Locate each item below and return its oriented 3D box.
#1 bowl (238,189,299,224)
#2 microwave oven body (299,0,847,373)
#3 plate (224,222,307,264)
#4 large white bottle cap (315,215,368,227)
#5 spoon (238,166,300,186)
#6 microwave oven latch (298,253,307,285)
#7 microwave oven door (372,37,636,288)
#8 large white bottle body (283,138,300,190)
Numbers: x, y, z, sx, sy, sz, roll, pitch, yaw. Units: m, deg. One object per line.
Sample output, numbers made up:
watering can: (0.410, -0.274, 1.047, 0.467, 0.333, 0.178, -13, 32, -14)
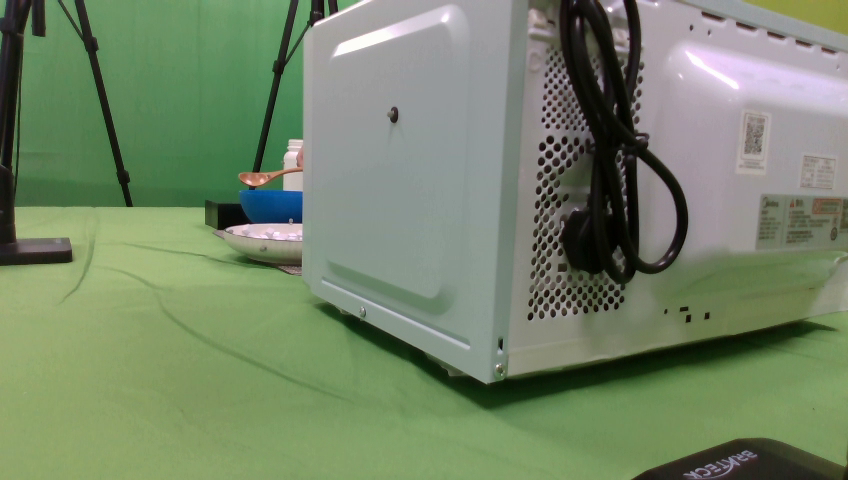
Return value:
bowl: (-0.245, -0.045, 1.053, 0.151, 0.077, 0.151, 3, 8, 0)
microwave oven body: (0.151, -0.055, 0.542, 0.444, 0.260, 0.324, -2, 7, -33)
plate: (-0.171, 0.004, 0.849, 0.209, 0.038, 0.209, 2, 7, 0)
large white bottle cap: (-0.178, -0.041, 1.308, 0.115, 0.018, 0.115, 2, 6, 0)
spoon: (-0.271, -0.135, 1.199, 0.194, 0.021, 0.041, -17, 45, -27)
microwave oven latch: (-0.081, 0.027, 0.582, 0.079, 0.029, 0.030, -1, 7, -32)
microwave oven door: (0.110, -0.080, 0.686, 0.358, 0.243, 0.039, -2, 9, -33)
large white bottle body: (-0.265, -0.143, 1.424, 0.131, 0.184, 0.130, 2, 7, 0)
